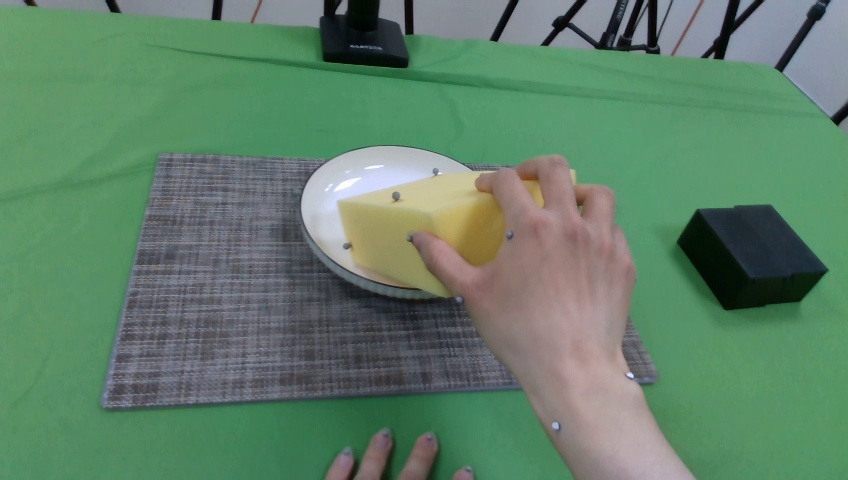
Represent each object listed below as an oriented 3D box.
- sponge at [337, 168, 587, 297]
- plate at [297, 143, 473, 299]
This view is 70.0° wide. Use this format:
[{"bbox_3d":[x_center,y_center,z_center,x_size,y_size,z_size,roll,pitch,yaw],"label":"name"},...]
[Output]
[{"bbox_3d":[0.018,-0.017,0.493,0.118,0.061,0.205,-16,13,-22],"label":"sponge"},{"bbox_3d":[-0.020,-0.019,0.597,0.208,0.039,0.205,7,44,-7],"label":"plate"}]
